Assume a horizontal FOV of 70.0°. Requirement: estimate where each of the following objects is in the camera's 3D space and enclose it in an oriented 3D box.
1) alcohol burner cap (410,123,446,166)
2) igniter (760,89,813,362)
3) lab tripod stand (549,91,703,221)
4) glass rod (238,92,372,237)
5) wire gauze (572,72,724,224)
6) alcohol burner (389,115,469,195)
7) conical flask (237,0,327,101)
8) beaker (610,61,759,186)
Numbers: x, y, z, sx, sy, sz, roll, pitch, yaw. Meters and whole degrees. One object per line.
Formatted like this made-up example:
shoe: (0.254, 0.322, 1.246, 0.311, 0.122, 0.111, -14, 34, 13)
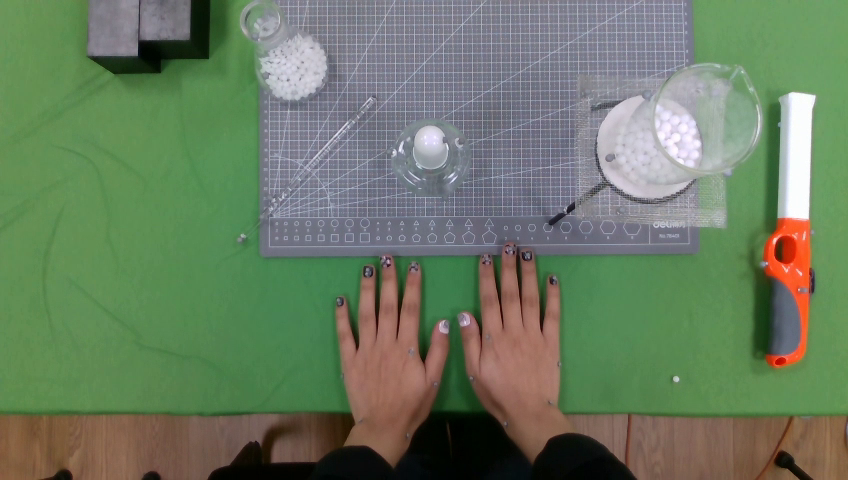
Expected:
alcohol burner cap: (0.003, -0.087, 0.534, 0.034, 0.048, 0.033, 0, 81, 0)
igniter: (0.369, -0.014, 0.613, 0.057, 0.025, 0.276, 4, 88, -10)
lab tripod stand: (0.183, -0.070, 0.559, 0.148, 0.131, 0.148, 0, 89, 0)
glass rod: (-0.121, -0.078, 0.621, 0.008, 0.008, 0.199, 42, 88, 2)
wire gauze: (0.183, -0.076, 0.494, 0.125, 0.011, 0.121, 2, 91, -1)
alcohol burner: (0.004, -0.083, 0.570, 0.078, 0.119, 0.078, 0, 88, 2)
conical flask: (-0.138, -0.182, 0.568, 0.075, 0.122, 0.075, 0, 87, 0)
beaker: (0.186, -0.082, 0.446, 0.074, 0.100, 0.084, 35, 89, 1)
